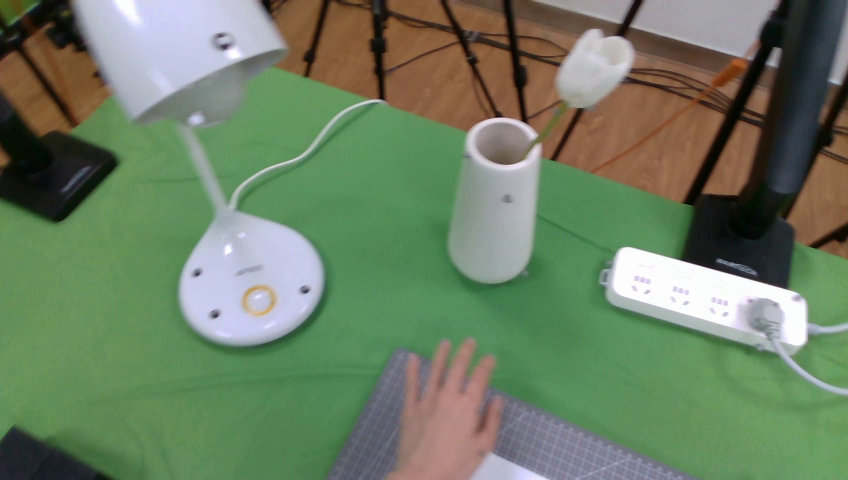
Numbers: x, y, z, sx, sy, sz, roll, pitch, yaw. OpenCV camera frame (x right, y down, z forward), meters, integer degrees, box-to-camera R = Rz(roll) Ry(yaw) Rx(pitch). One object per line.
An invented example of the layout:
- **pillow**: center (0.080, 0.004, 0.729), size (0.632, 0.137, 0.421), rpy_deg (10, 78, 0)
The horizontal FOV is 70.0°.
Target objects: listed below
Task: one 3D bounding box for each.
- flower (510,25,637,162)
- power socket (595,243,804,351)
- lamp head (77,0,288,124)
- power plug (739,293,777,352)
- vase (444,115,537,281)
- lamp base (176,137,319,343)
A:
- **flower**: center (0.086, -0.072, 0.575), size (0.044, 0.362, 0.038), rpy_deg (-14, 74, -20)
- **power socket**: center (0.310, 0.063, 0.686), size (0.226, 0.033, 0.072), rpy_deg (17, 58, 10)
- **lamp head**: center (-0.164, -0.149, 0.383), size (0.112, 0.112, 0.123), rpy_deg (-33, 101, -21)
- **power plug**: center (0.348, 0.088, 0.643), size (0.035, 0.053, 0.072), rpy_deg (26, 66, 16)
- **vase**: center (0.071, -0.040, 0.651), size (0.098, 0.202, 0.097), rpy_deg (0, 55, 1)
- **lamp base**: center (-0.207, -0.007, 0.637), size (0.161, 0.182, 0.177), rpy_deg (-26, 57, -17)
